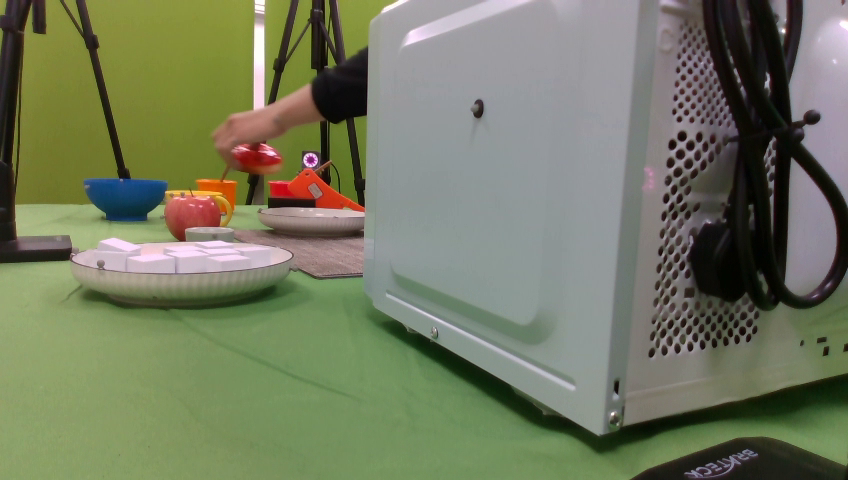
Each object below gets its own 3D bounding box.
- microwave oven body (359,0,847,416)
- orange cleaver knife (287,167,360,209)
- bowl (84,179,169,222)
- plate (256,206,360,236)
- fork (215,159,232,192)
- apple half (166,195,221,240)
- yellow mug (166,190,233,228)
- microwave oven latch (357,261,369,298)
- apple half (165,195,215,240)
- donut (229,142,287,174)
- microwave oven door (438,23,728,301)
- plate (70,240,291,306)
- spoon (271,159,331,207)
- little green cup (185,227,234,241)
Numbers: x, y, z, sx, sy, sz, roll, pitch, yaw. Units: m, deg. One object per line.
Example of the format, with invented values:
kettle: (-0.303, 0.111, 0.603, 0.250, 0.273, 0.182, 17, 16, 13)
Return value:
microwave oven body: (0.211, -0.047, 0.474, 0.444, 0.260, 0.324, -1, 7, -28)
orange cleaver knife: (-0.209, -0.089, 1.383, 0.212, 0.077, 0.012, 31, 4, -15)
bowl: (-0.584, -0.078, 1.194, 0.151, 0.077, 0.151, 3, 8, 0)
plate: (-0.202, -0.036, 1.120, 0.209, 0.038, 0.209, 2, 8, 0)
fork: (-0.455, -0.132, 1.366, 0.028, 0.018, 0.207, -2, -35, -37)
apple half: (-0.352, -0.031, 0.935, 0.081, 0.074, 0.053, 1, 11, -40)
yellow mug: (-0.415, -0.057, 1.131, 0.130, 0.064, 0.100, 6, 8, 16)
microwave oven latch: (-0.019, 0.034, 0.529, 0.079, 0.029, 0.030, 0, 7, -25)
apple half: (-0.377, -0.038, 0.964, 0.082, 0.081, 0.032, -4, 14, -39)
donut: (-0.293, -0.144, 1.070, 0.099, 0.048, 0.099, 10, 19, -3)
microwave oven door: (0.181, -0.073, 0.620, 0.358, 0.243, 0.039, -2, 8, -29)
plate: (-0.242, 0.032, 0.618, 0.208, 0.039, 0.207, 3, 8, 0)
spoon: (-0.308, -0.141, 1.513, 0.193, 0.021, 0.041, -42, -1, 8)
little green cup: (-0.285, 0.005, 0.805, 0.061, 0.038, 0.061, 2, 8, 0)
